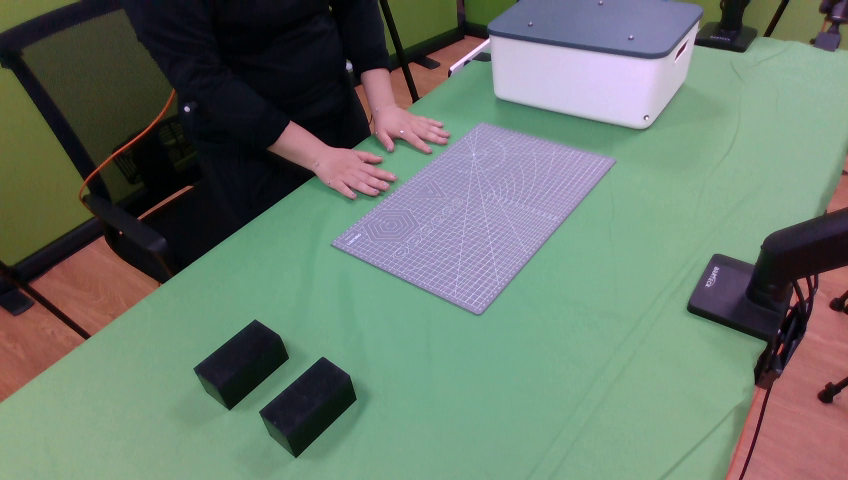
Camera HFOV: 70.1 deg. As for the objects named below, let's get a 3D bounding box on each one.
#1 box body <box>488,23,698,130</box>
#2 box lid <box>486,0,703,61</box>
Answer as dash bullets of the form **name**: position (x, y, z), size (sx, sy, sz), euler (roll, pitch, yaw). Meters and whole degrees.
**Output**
- **box body**: position (0.345, -0.379, 1.257), size (0.361, 0.161, 0.255), euler (20, 48, 29)
- **box lid**: position (0.338, -0.435, 1.208), size (0.369, 0.015, 0.264), euler (20, 47, 29)
